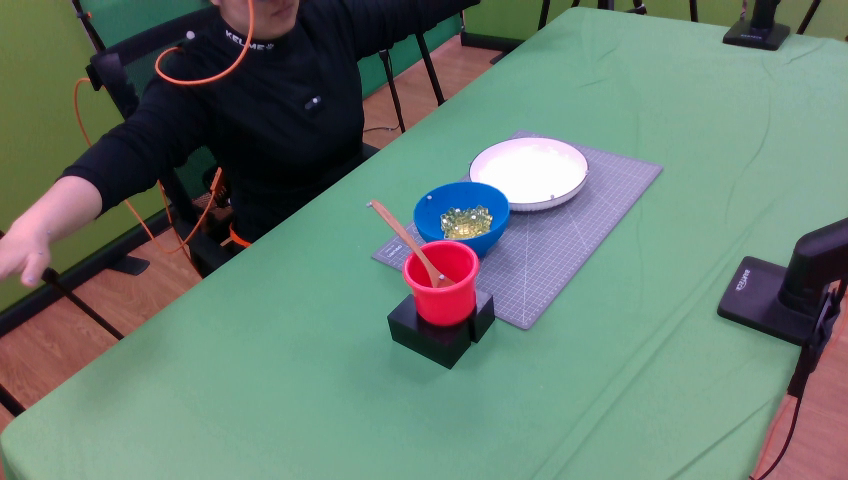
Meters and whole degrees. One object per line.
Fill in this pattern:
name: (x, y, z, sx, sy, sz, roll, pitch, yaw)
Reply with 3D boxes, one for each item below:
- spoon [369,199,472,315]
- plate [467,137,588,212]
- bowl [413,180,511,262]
spoon: (-0.006, 0.020, 0.787, 0.042, 0.021, 0.194, -39, 92, -27)
plate: (0.181, -0.112, 1.064, 0.207, 0.039, 0.206, -5, 40, 5)
bowl: (0.062, -0.019, 0.944, 0.151, 0.077, 0.150, -5, 40, 5)
